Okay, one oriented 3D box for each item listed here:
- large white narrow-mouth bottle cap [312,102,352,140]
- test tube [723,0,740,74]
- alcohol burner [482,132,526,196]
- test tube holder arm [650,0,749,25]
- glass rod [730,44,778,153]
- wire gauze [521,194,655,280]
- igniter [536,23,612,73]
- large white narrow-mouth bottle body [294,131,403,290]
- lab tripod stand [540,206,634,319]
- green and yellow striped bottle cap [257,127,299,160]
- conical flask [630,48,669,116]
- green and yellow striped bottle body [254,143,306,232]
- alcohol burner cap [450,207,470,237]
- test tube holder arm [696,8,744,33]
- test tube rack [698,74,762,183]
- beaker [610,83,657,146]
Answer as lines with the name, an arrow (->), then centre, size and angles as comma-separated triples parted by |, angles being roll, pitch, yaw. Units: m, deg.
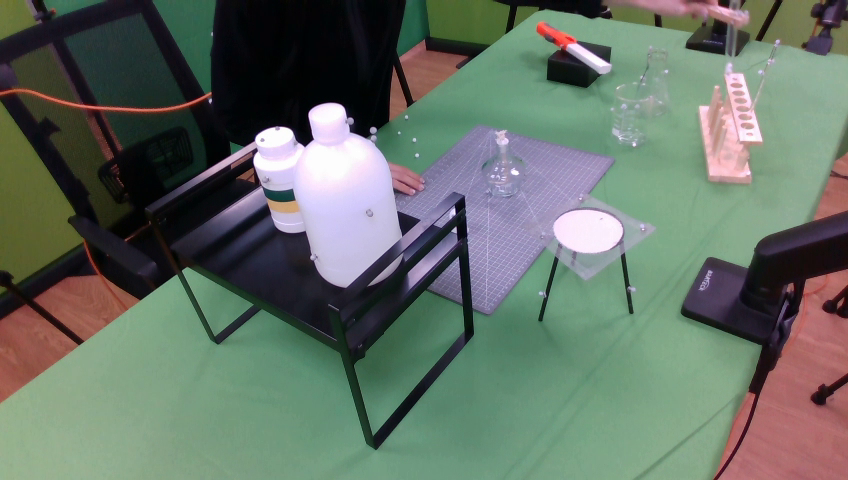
large white narrow-mouth bottle cap -> -0.089, -0.114, 0.579 | 0.038, 0.024, 0.037 | -3, 39, 3
test tube -> 0.531, -0.359, 1.044 | 0.017, 0.151, 0.017 | -9, 36, 7
alcohol burner -> 0.137, -0.136, 1.042 | 0.078, 0.119, 0.077 | -4, 43, 4
test tube holder arm -> 0.483, -0.409, 1.068 | 0.177, 0.015, 0.013 | 31, 84, 30
glass rod -> 0.555, -0.233, 1.020 | 0.008, 0.200, 0.008 | 2, 39, -1
wire gauze -> 0.207, -0.012, 0.772 | 0.122, 0.011, 0.124 | -28, 44, -20
igniter -> 0.330, -0.439, 1.366 | 0.057, 0.025, 0.274 | -12, 40, -20
large white narrow-mouth bottle body -> -0.082, -0.047, 0.634 | 0.102, 0.195, 0.101 | -4, 39, 4
lab tripod stand -> 0.218, 0.034, 0.821 | 0.148, 0.132, 0.147 | -4, 42, 4
green and yellow striped bottle cap -> -0.169, -0.112, 0.699 | 0.045, 0.020, 0.045 | -6, 40, 5
conical flask -> 0.457, -0.317, 1.205 | 0.075, 0.122, 0.075 | -4, 41, 4
green and yellow striped bottle body -> -0.165, -0.073, 0.732 | 0.063, 0.120, 0.063 | -4, 41, 4
alcohol burner cap -> 0.057, -0.032, 0.987 | 0.034, 0.048, 0.033 | -5, 41, 5
test tube holder arm -> 0.511, -0.383, 1.045 | 0.010, 0.015, 0.087 | -47, 59, 0
test tube rack -> 0.547, -0.208, 1.095 | 0.066, 0.085, 0.242 | 5, 42, 15
beaker -> 0.388, -0.235, 1.138 | 0.074, 0.101, 0.083 | -31, 45, -25
